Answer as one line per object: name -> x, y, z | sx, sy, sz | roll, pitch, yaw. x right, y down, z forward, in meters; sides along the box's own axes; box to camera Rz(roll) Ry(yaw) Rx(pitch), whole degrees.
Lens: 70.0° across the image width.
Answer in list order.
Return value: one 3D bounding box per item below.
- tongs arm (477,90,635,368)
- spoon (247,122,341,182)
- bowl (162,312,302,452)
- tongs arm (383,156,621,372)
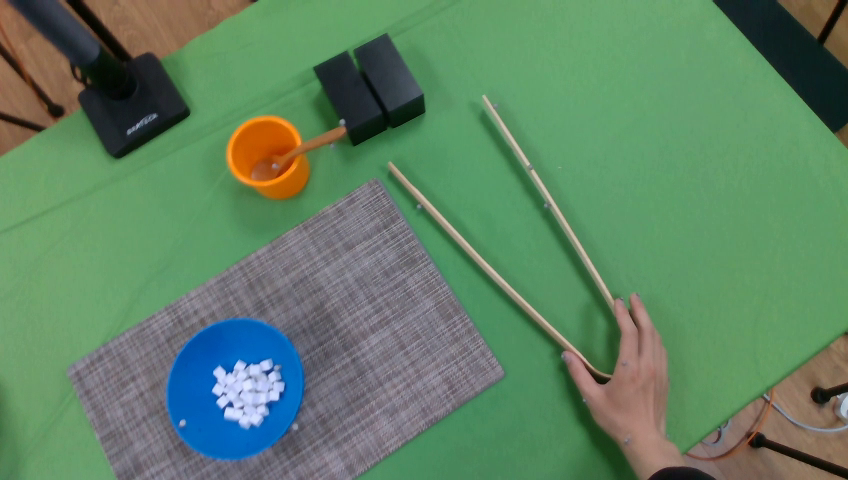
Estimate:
tongs arm -> 0.150, -0.020, 0.749 | 0.051, 0.026, 0.383 | -31, 78, -4
spoon -> -0.160, -0.107, 0.724 | 0.022, 0.193, 0.041 | 16, 70, -38
bowl -> -0.207, 0.162, 0.694 | 0.151, 0.077, 0.150 | 0, 76, 2
tongs arm -> 0.084, 0.027, 0.745 | 0.028, 0.028, 0.386 | -43, 79, -10
